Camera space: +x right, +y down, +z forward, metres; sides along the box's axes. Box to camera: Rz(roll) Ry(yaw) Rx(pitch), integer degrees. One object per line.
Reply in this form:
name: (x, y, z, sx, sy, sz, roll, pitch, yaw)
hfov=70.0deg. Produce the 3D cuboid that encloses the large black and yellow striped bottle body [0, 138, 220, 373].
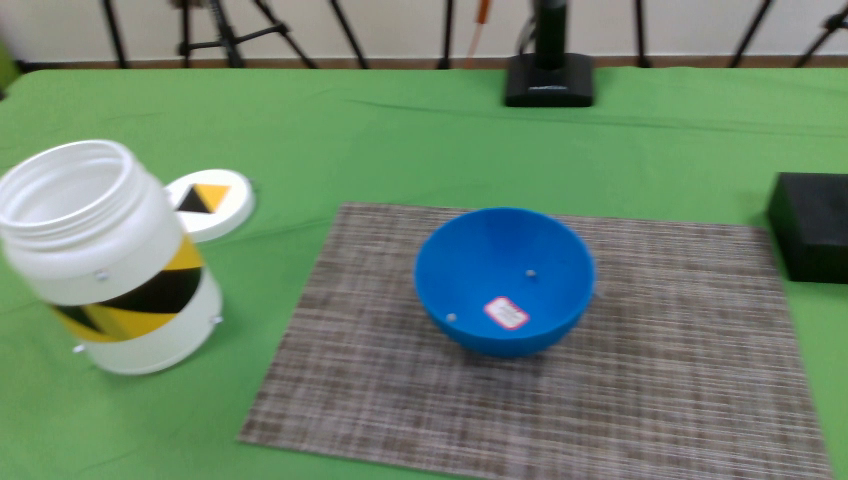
large black and yellow striped bottle body: (-0.272, 0.016, 0.534, 0.131, 0.186, 0.129, -4, 45, 4)

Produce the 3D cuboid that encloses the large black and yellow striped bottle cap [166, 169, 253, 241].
large black and yellow striped bottle cap: (-0.261, -0.044, 0.713, 0.115, 0.019, 0.114, -3, 45, 3)

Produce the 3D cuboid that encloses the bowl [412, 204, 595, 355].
bowl: (0.068, 0.047, 0.528, 0.151, 0.077, 0.150, -4, 45, 4)
